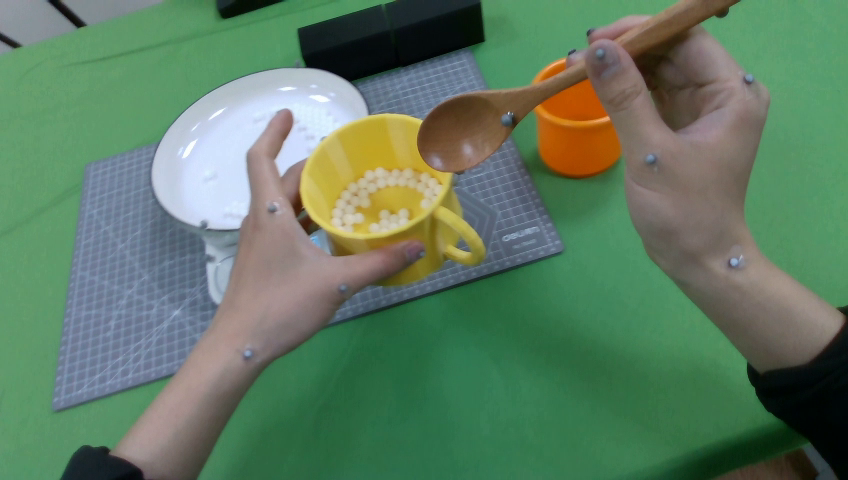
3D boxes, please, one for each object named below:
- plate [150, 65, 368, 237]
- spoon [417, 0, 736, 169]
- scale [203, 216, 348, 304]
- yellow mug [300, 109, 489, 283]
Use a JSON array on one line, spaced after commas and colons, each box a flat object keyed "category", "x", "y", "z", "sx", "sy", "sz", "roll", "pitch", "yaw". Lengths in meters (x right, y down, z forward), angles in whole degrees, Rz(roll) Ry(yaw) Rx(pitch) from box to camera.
[{"category": "plate", "x": -0.149, "y": -0.084, "z": 0.570, "sx": 0.209, "sy": 0.038, "sz": 0.207, "roll": -5, "pitch": 54, "yaw": 7}, {"category": "spoon", "x": 0.073, "y": -0.082, "z": 0.296, "sx": 0.193, "sy": 0.042, "sz": 0.021, "roll": -21, "pitch": 17, "yaw": 38}, {"category": "scale", "x": -0.137, "y": -0.043, "z": 0.579, "sx": 0.149, "sy": 0.032, "sz": 0.198, "roll": -17, "pitch": 54, "yaw": 0}, {"category": "yellow mug", "x": -0.013, "y": -0.023, "z": 0.403, "sx": 0.130, "sy": 0.064, "sz": 0.099, "roll": 27, "pitch": 68, "yaw": 23}]
